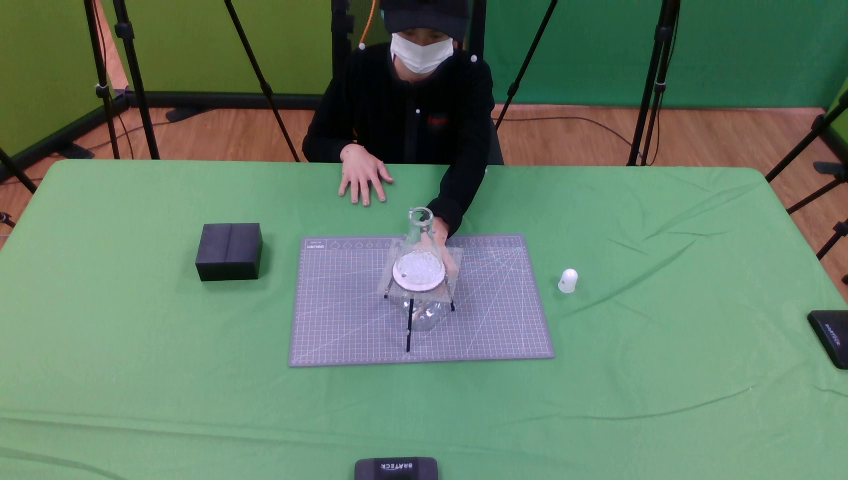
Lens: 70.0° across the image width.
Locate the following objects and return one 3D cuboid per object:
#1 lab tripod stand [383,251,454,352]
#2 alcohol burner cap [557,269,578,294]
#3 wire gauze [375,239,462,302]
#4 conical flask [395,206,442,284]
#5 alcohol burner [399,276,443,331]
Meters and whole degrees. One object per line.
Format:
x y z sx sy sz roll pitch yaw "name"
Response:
-0.016 0.094 1.025 0.148 0.132 0.147 1 46 -1 "lab tripod stand"
0.270 0.075 1.135 0.034 0.048 0.033 3 46 -3 "alcohol burner cap"
-0.006 0.049 0.977 0.121 0.011 0.124 10 44 5 "wire gauze"
-0.007 0.005 0.937 0.075 0.122 0.075 2 45 -1 "conical flask"
-0.004 0.101 1.033 0.078 0.119 0.077 3 47 -3 "alcohol burner"
